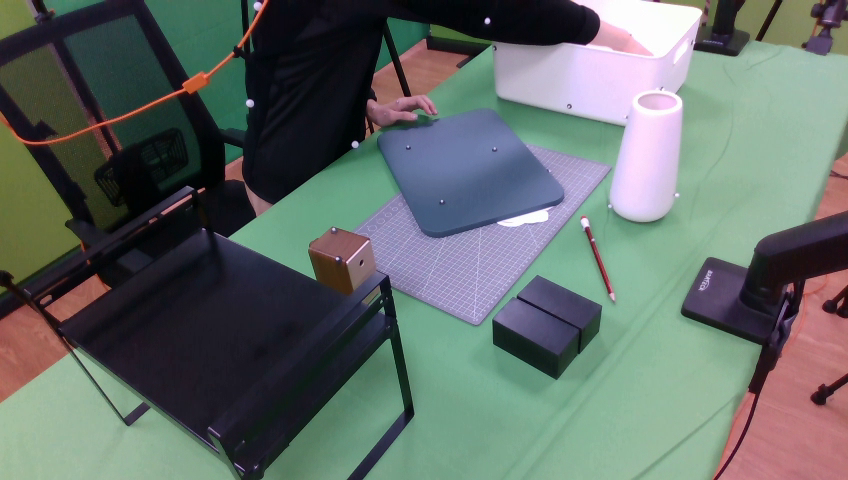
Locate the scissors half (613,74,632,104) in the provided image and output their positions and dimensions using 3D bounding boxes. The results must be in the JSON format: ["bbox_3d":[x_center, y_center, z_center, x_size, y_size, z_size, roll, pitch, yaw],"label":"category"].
[{"bbox_3d":[0.422,-0.332,1.305,0.013,0.040,0.175,35,32,-13],"label":"scissors half"}]

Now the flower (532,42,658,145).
[{"bbox_3d":[0.370,-0.320,1.323,0.038,0.044,0.359,-17,57,-48],"label":"flower"}]

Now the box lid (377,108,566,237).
[{"bbox_3d":[0.074,-0.140,1.137,0.264,0.015,0.368,-16,40,-10],"label":"box lid"}]

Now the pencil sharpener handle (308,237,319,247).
[{"bbox_3d":[-0.158,0.017,0.892,0.030,0.068,0.036,18,62,28],"label":"pencil sharpener handle"}]

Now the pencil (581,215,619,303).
[{"bbox_3d":[0.266,0.025,0.916,0.012,0.012,0.193,-6,41,1],"label":"pencil"}]

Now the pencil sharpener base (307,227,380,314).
[{"bbox_3d":[-0.116,0.043,0.875,0.076,0.107,0.061,18,47,27],"label":"pencil sharpener base"}]

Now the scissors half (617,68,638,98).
[{"bbox_3d":[0.431,-0.344,1.297,0.013,0.040,0.174,30,28,-11],"label":"scissors half"}]

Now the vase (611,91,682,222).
[{"bbox_3d":[0.348,-0.125,0.935,0.098,0.201,0.097,-3,40,3],"label":"vase"}]

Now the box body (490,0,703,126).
[{"bbox_3d":[0.352,-0.384,1.268,0.361,0.161,0.255,21,48,29],"label":"box body"}]
